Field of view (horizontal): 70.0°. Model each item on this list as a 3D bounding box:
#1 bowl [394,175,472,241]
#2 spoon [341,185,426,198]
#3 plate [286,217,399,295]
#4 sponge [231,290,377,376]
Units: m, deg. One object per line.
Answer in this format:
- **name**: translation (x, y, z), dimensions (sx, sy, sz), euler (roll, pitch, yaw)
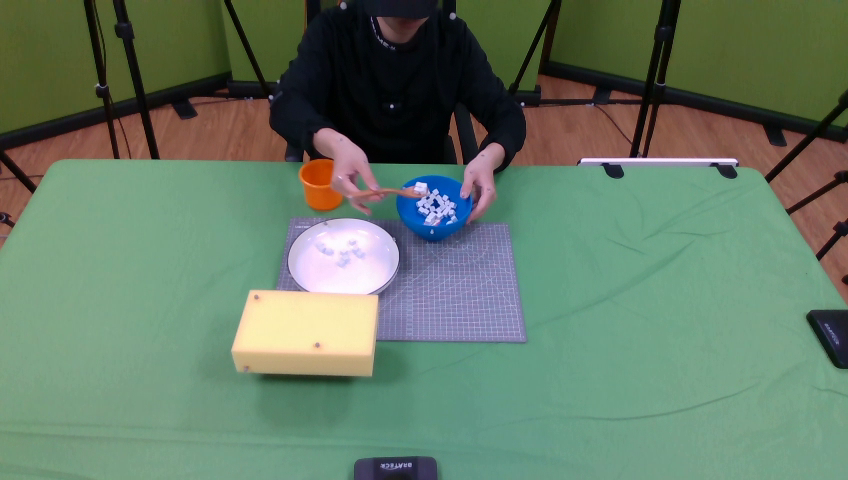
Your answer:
- **bowl**: translation (0.016, -0.052, 1.197), dimensions (0.151, 0.077, 0.150), euler (1, 46, -1)
- **spoon**: translation (-0.071, -0.088, 1.094), dimensions (0.194, 0.022, 0.041), euler (-4, 31, -45)
- **plate**: translation (-0.150, 0.041, 1.131), dimensions (0.209, 0.038, 0.208), euler (2, 46, -2)
- **sponge**: translation (-0.180, 0.145, 0.949), dimensions (0.207, 0.061, 0.117), euler (2, 46, -2)
